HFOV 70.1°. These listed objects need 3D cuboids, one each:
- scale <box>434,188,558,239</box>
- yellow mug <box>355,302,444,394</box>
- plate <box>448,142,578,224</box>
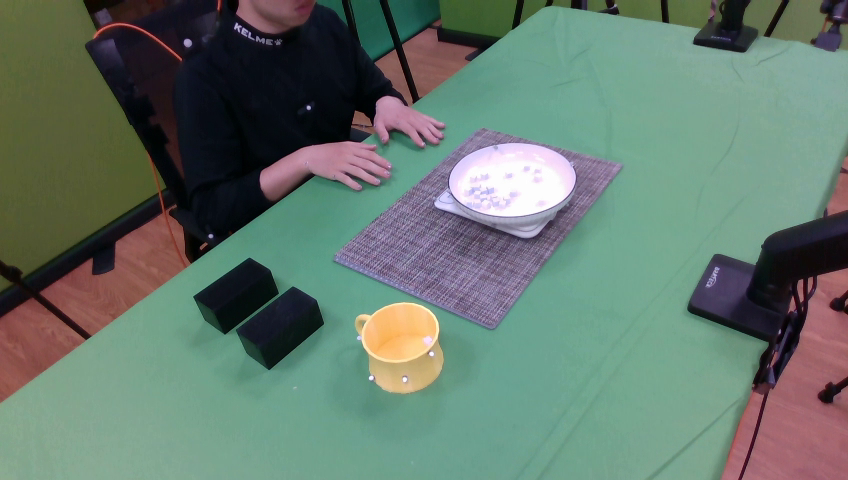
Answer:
[{"bbox_3d":[0.132,-0.075,1.025,0.199,0.032,0.149,22,48,30],"label":"scale"},{"bbox_3d":[-0.040,0.133,0.786,0.130,0.064,0.100,20,47,29],"label":"yellow mug"},{"bbox_3d":[0.145,-0.089,0.989,0.209,0.038,0.208,-4,41,4],"label":"plate"}]
